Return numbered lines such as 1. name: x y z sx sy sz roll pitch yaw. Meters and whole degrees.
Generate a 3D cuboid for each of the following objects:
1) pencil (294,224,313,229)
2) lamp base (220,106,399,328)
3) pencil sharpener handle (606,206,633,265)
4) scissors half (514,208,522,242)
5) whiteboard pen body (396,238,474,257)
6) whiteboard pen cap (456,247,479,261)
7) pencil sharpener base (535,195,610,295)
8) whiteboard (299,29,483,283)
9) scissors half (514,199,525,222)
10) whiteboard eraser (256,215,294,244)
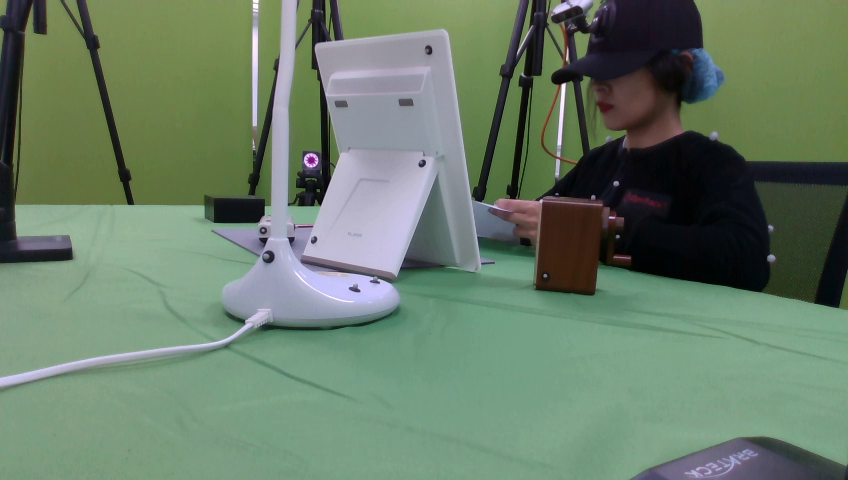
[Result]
1. pencil: -0.221 -0.028 1.211 0.195 0.012 0.012 -5 10 -34
2. lamp base: -0.101 -0.023 0.531 0.160 0.180 0.179 4 10 10
3. pencil sharpener handle: 0.223 -0.004 0.683 0.030 0.068 0.036 5 20 17
4. scissors half: 0.170 -0.030 1.109 0.013 0.040 0.175 11 -14 13
5. whiteboard pen body: 0.014 0.012 0.886 0.140 0.017 0.017 9 10 38
6. whiteboard pen cap: 0.060 0.020 0.851 0.033 0.018 0.018 10 10 37
7. pencil sharpener base: 0.172 0.005 0.696 0.076 0.107 0.061 5 7 16
8. whiteboard: -0.074 -0.082 0.742 0.216 0.305 0.144 9 30 38
9. scissors half: 0.174 -0.052 1.110 0.013 0.040 0.175 6 10 13
10. whiteboard eraser: -0.232 -0.016 0.951 0.056 0.042 0.112 2 7 -12
